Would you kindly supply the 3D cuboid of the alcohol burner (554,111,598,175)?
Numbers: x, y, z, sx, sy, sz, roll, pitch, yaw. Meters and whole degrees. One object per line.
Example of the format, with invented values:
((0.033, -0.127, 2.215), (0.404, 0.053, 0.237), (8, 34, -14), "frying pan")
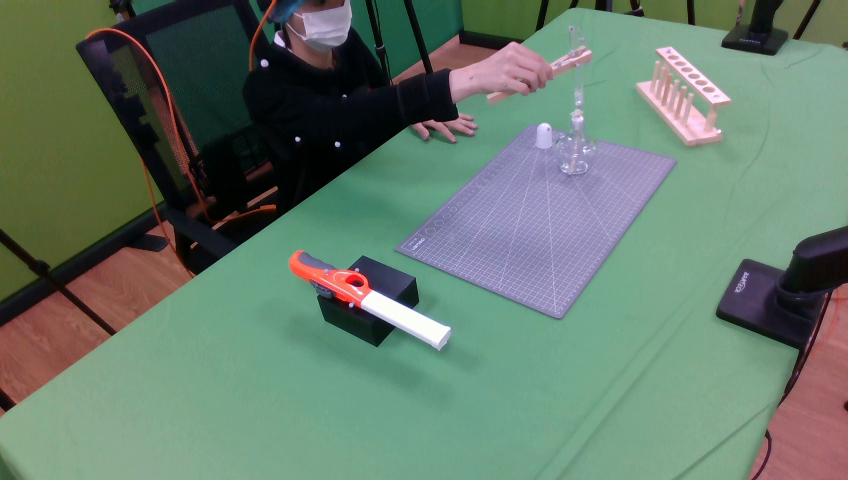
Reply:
((0.270, -0.175, 1.066), (0.078, 0.119, 0.077), (-4, 42, 4), "alcohol burner")

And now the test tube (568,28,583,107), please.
((0.243, -0.271, 0.965), (0.017, 0.151, 0.017), (-9, 52, 12), "test tube")

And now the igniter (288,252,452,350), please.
((-0.084, 0.077, 0.821), (0.274, 0.025, 0.057), (23, 48, 27), "igniter")

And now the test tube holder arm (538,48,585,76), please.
((0.216, -0.275, 0.949), (0.088, 0.015, 0.010), (-32, 48, -12), "test tube holder arm")

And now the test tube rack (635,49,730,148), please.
((0.497, -0.283, 1.185), (0.067, 0.085, 0.240), (-10, 40, -2), "test tube rack")

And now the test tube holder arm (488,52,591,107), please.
((0.179, -0.250, 0.939), (0.179, 0.015, 0.013), (-27, 47, -7), "test tube holder arm")

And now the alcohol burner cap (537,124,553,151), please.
((0.232, -0.199, 1.158), (0.034, 0.048, 0.033), (-5, 40, 4), "alcohol burner cap")
